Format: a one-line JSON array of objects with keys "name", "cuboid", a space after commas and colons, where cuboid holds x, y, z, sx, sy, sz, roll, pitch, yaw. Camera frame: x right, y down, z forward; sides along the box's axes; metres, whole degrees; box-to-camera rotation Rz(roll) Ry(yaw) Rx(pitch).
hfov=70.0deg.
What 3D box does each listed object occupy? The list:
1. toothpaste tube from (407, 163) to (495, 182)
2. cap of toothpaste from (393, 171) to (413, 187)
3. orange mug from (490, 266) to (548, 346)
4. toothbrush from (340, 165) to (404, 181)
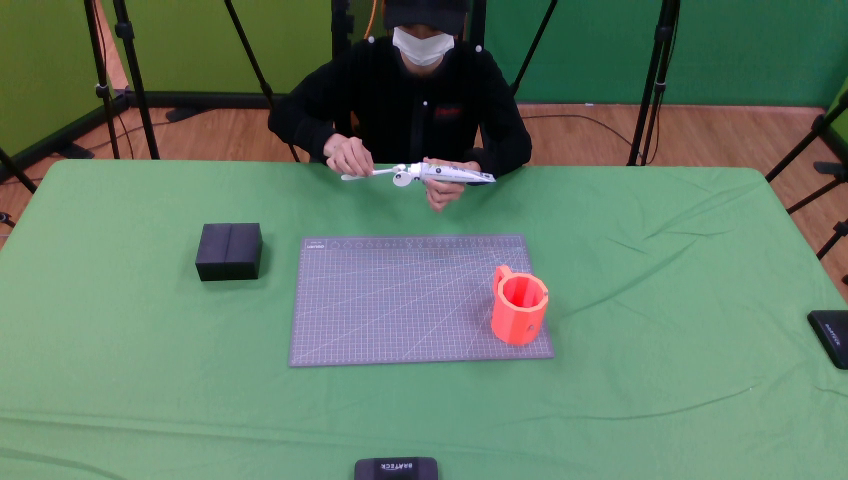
[{"name": "toothpaste tube", "cuboid": [0.049, -0.123, 1.138, 0.165, 0.034, 0.055, 3, 24, -5]}, {"name": "cap of toothpaste", "cuboid": [-0.039, -0.115, 1.118, 0.037, 0.037, 0.011, -6, 48, -10]}, {"name": "orange mug", "cuboid": [0.155, 0.107, 1.051, 0.083, 0.101, 0.125, -15, 53, -18]}, {"name": "toothbrush", "cuboid": [-0.105, -0.131, 1.181, 0.181, 0.014, 0.016, -2, 40, 44]}]
